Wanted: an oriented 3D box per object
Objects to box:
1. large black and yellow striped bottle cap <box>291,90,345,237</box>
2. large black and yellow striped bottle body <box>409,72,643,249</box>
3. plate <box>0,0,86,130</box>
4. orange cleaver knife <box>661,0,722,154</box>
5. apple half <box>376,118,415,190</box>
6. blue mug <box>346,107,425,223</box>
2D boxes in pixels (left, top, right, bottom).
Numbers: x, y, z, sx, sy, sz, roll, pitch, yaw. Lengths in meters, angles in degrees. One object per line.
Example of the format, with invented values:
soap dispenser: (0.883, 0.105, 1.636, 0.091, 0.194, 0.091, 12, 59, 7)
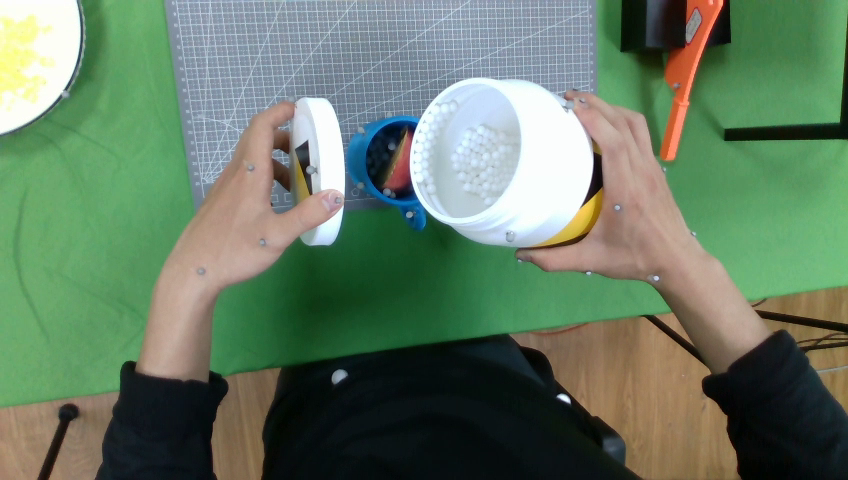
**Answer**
large black and yellow striped bottle cap: (-0.085, -0.059, 0.475, 0.019, 0.114, 0.115, -5, 101, -22)
large black and yellow striped bottle body: (0.088, -0.062, 0.506, 0.185, 0.129, 0.131, 6, 100, -49)
plate: (-0.402, -0.196, 0.517, 0.210, 0.038, 0.209, -3, 101, -14)
orange cleaver knife: (0.291, -0.201, 0.680, 0.012, 0.076, 0.213, -4, 127, -5)
apple half: (-0.019, -0.080, 0.599, 0.033, 0.081, 0.081, 27, 92, -10)
blue mug: (-0.025, -0.072, 0.604, 0.082, 0.105, 0.117, -22, 105, -10)
